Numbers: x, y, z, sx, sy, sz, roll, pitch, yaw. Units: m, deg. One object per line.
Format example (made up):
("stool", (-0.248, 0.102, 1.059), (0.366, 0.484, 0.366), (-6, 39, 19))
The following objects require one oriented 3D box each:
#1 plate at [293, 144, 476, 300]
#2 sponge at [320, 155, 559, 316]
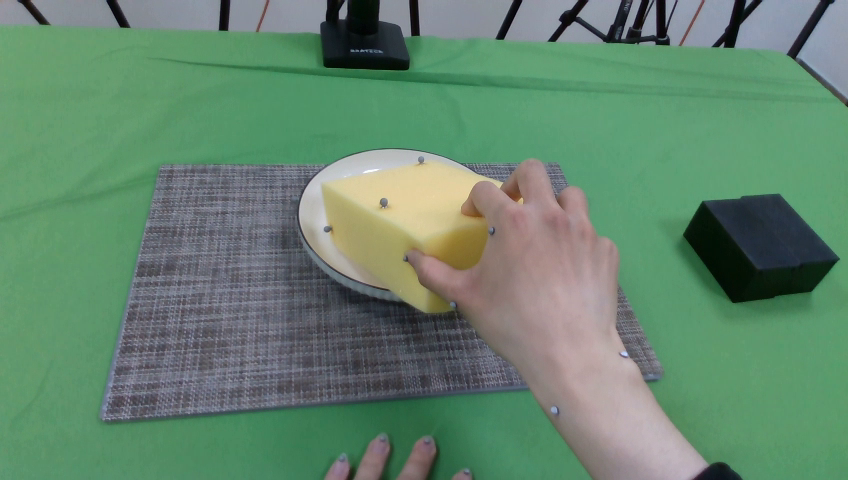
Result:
("plate", (-0.022, -0.017, 0.594), (0.208, 0.039, 0.205), (5, 45, -5))
("sponge", (0.003, -0.016, 0.508), (0.118, 0.061, 0.205), (-15, 23, -24))
